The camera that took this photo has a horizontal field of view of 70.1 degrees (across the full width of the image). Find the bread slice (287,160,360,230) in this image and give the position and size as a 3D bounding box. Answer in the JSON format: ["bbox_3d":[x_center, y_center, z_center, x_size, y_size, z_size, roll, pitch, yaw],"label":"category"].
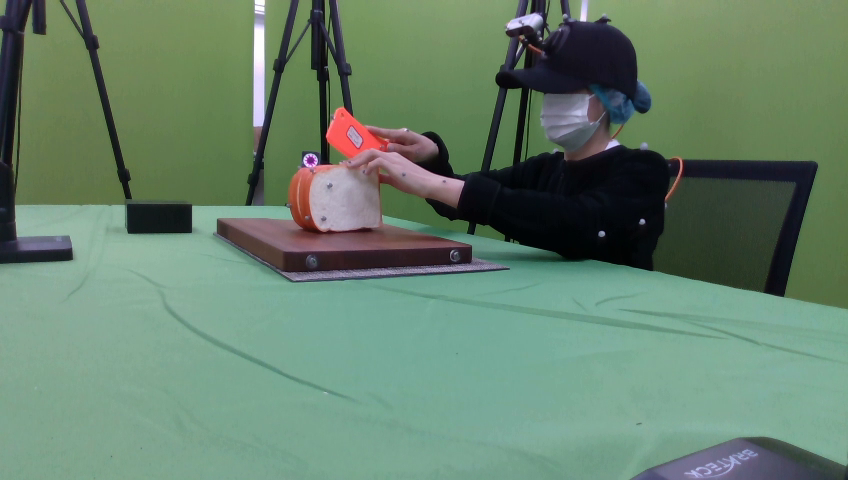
[{"bbox_3d":[-0.155,-0.070,0.960,0.132,0.105,0.019,-11,13,-37],"label":"bread slice"}]

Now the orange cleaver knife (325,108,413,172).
[{"bbox_3d":[-0.087,-0.153,1.017,0.012,0.077,0.212,-3,-15,36],"label":"orange cleaver knife"}]

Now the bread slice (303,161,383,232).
[{"bbox_3d":[-0.122,-0.061,0.923,0.135,0.107,0.018,-13,12,-40],"label":"bread slice"}]
